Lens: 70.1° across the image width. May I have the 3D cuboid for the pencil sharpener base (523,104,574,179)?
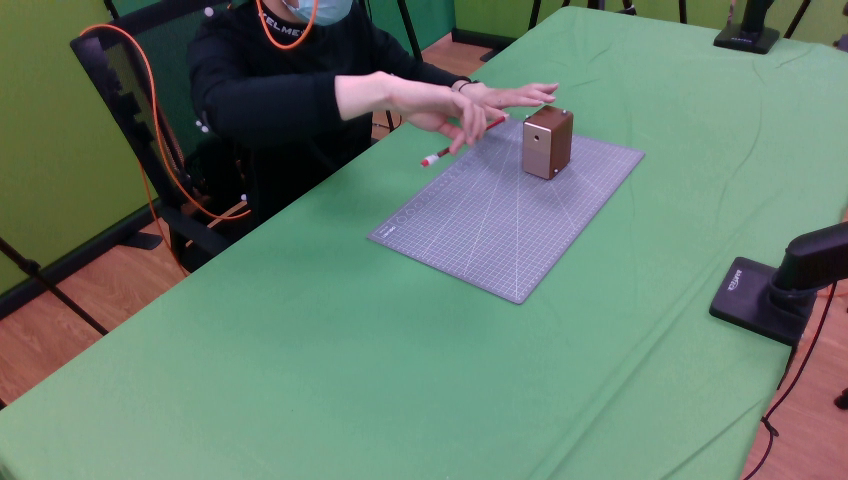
[{"bbox_3d":[0.220,-0.175,1.070,0.061,0.107,0.077,25,50,33],"label":"pencil sharpener base"}]

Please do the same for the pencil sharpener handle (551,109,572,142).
[{"bbox_3d":[0.253,-0.211,1.090,0.035,0.068,0.031,22,48,36],"label":"pencil sharpener handle"}]

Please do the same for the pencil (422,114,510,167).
[{"bbox_3d":[0.069,-0.155,0.915,0.195,0.012,0.012,-34,47,-30],"label":"pencil"}]
